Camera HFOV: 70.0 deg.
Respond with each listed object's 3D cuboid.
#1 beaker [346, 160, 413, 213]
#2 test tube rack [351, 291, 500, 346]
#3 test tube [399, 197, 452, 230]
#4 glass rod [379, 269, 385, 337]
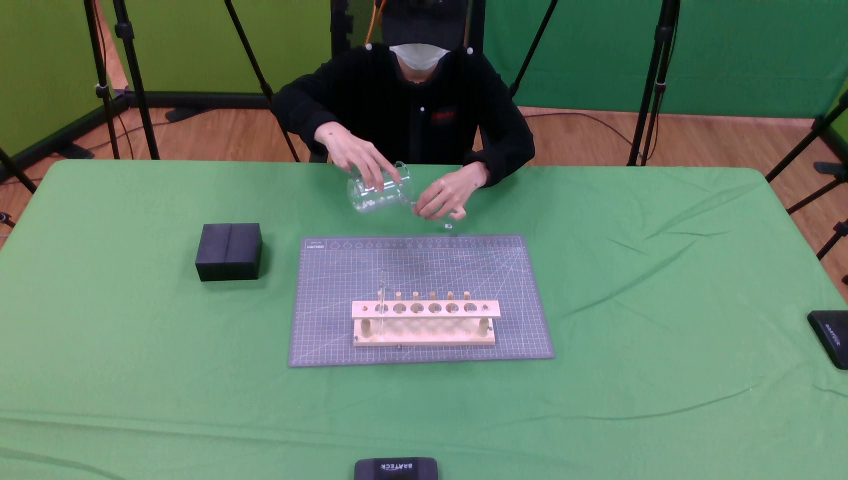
[{"bbox_3d":[-0.081,-0.091,1.077,0.100,0.084,0.073,-19,37,-24],"label":"beaker"},{"bbox_3d":[0.000,0.129,1.026,0.242,0.085,0.066,0,46,-4],"label":"test tube rack"},{"bbox_3d":[0.006,-0.049,1.170,0.151,0.017,0.017,27,27,-44],"label":"test tube"},{"bbox_3d":[-0.066,0.104,0.953,0.008,0.200,0.008,3,53,-3],"label":"glass rod"}]
